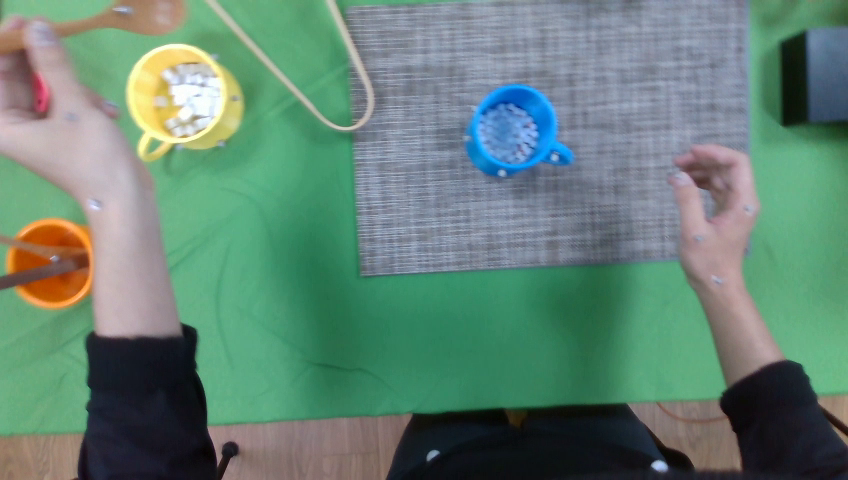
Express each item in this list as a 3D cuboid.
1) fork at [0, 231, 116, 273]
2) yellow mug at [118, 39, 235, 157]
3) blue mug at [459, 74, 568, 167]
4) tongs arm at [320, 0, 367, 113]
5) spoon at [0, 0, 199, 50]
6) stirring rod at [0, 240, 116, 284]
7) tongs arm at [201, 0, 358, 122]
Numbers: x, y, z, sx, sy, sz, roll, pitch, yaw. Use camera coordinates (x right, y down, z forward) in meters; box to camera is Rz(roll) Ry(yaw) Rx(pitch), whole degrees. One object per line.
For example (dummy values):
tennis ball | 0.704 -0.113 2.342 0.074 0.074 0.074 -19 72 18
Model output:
fork | -0.418 -0.003 0.609 0.209 0.018 0.028 25 88 -46
yellow mug | -0.269 -0.143 0.646 0.100 0.064 0.131 35 93 -4
blue mug | 0.096 -0.115 0.636 0.117 0.105 0.082 22 92 -3
tongs arm | -0.149 -0.316 0.635 0.028 0.027 0.389 -29 101 -8
spoon | -0.234 -0.154 0.421 0.021 0.193 0.042 16 124 20
stirring rod | -0.407 0.030 0.617 0.176 0.006 0.014 -22 90 -41
tongs arm | -0.217 -0.266 0.633 0.051 0.026 0.386 -42 101 -2
